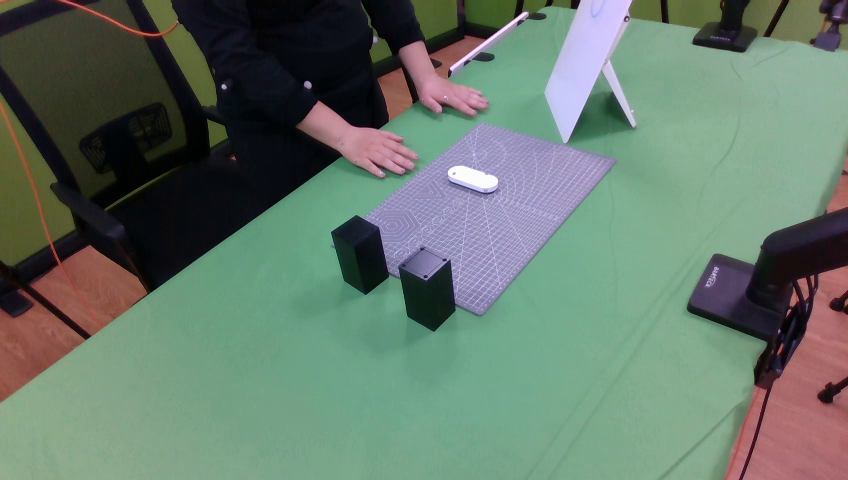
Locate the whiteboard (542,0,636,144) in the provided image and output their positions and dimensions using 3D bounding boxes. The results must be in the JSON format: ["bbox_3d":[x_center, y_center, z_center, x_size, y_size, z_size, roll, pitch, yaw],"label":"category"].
[{"bbox_3d":[0.366,-0.351,1.160,0.144,0.305,0.216,10,39,-10],"label":"whiteboard"}]

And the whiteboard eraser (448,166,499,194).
[{"bbox_3d":[0.088,-0.108,1.082,0.100,0.019,0.041,22,49,31],"label":"whiteboard eraser"}]
